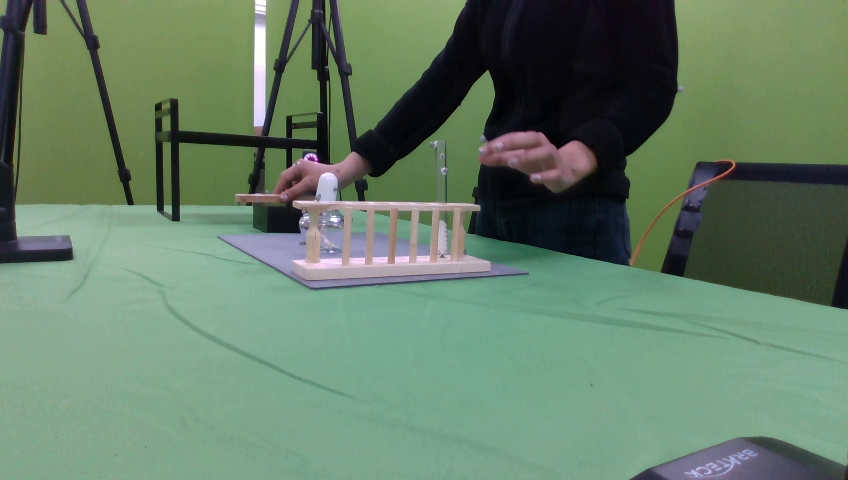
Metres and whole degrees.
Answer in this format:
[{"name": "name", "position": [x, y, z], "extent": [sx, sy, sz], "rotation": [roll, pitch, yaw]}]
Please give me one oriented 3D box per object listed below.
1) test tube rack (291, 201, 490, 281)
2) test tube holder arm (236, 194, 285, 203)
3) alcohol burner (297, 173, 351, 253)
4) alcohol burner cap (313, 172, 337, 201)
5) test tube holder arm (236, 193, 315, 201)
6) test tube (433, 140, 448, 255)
[{"name": "test tube rack", "position": [-0.035, -0.002, 0.745], "extent": [0.243, 0.085, 0.066], "rotation": [-1, 8, -28]}, {"name": "test tube holder arm", "position": [-0.303, -0.077, 1.125], "extent": [0.088, 0.015, 0.010], "rotation": [-1, 22, -22]}, {"name": "alcohol burner", "position": [-0.146, -0.040, 0.894], "extent": [0.078, 0.119, 0.078], "rotation": [5, 7, 0]}, {"name": "alcohol burner cap", "position": [-0.144, -0.076, 0.888], "extent": [0.034, 0.048, 0.034], "rotation": [8, 6, -1]}, {"name": "test tube holder arm", "position": [-0.264, -0.080, 1.147], "extent": [0.179, 0.015, 0.013], "rotation": [-2, 22, -24]}, {"name": "test tube", "position": [0.022, -0.054, 0.784], "extent": [0.017, 0.150, 0.017], "rotation": [-1, 9, 1]}]
